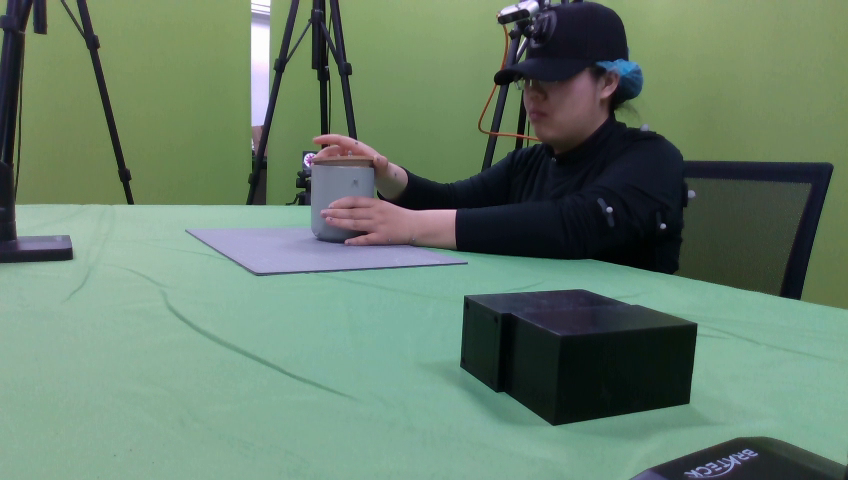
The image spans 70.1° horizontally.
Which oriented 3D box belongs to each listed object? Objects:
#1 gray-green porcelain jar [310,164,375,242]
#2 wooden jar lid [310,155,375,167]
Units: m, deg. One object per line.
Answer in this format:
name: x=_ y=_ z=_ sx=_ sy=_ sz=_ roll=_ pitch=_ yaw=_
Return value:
gray-green porcelain jar: x=-0.139 y=-0.063 z=1.025 sx=0.106 sy=0.126 sz=0.106 roll=3 pitch=8 yaw=0
wooden jar lid: x=-0.135 y=-0.129 z=1.015 sx=0.108 sy=0.020 sz=0.108 roll=-2 pitch=6 yaw=1
